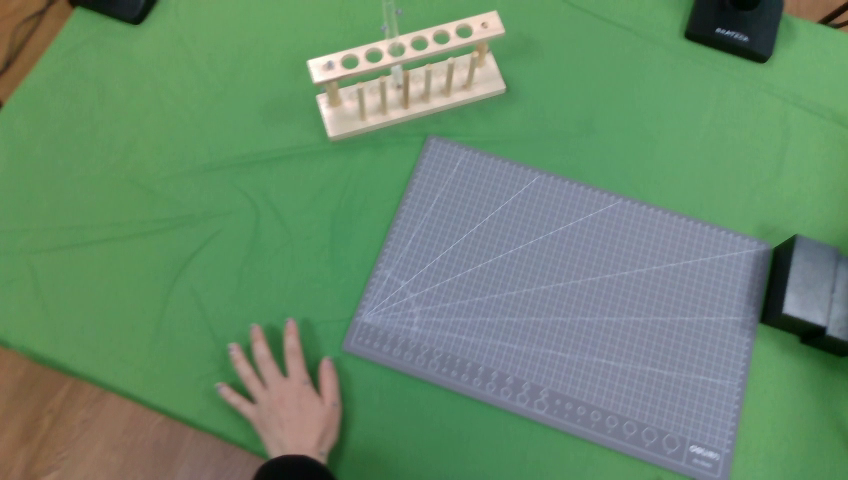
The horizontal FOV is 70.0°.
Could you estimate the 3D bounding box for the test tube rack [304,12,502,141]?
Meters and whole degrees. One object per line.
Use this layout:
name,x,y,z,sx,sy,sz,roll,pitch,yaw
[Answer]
test tube rack,-0.020,-0.206,0.770,0.242,0.085,0.066,-17,71,-7

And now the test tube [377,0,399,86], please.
test tube,-0.042,-0.234,0.727,0.017,0.151,0.017,0,68,1
